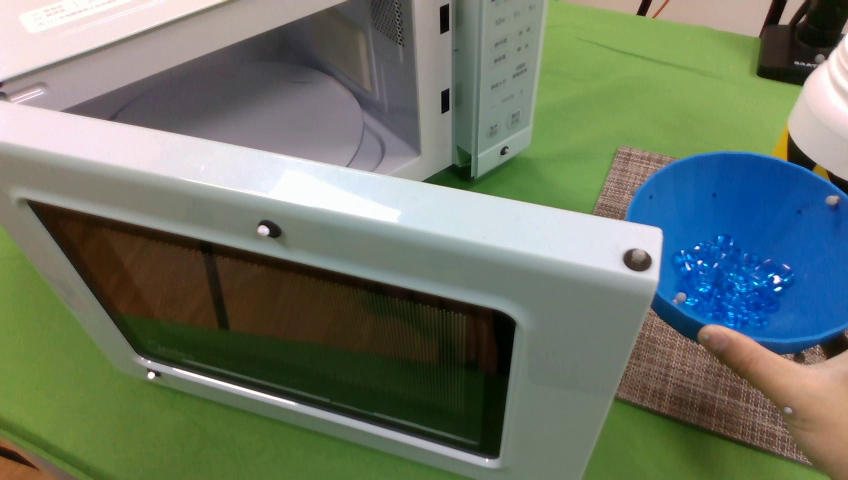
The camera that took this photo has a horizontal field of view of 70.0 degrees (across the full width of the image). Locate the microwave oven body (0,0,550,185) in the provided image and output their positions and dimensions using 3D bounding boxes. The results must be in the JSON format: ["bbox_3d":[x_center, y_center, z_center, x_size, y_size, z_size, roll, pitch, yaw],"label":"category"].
[{"bbox_3d":[-0.156,-0.166,0.559,0.442,0.262,0.322,-32,55,-23],"label":"microwave oven body"}]

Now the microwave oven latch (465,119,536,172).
[{"bbox_3d":[0.079,-0.102,0.623,0.079,0.030,0.030,-30,54,-22],"label":"microwave oven latch"}]

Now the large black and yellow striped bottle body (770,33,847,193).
[{"bbox_3d":[0.368,-0.074,0.506,0.131,0.186,0.129,-1,48,2],"label":"large black and yellow striped bottle body"}]

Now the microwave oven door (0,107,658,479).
[{"bbox_3d":[-0.072,0.049,0.357,0.355,0.246,0.039,12,50,13],"label":"microwave oven door"}]

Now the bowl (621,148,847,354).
[{"bbox_3d":[0.205,0.018,0.408,0.151,0.077,0.150,-4,53,5],"label":"bowl"}]
